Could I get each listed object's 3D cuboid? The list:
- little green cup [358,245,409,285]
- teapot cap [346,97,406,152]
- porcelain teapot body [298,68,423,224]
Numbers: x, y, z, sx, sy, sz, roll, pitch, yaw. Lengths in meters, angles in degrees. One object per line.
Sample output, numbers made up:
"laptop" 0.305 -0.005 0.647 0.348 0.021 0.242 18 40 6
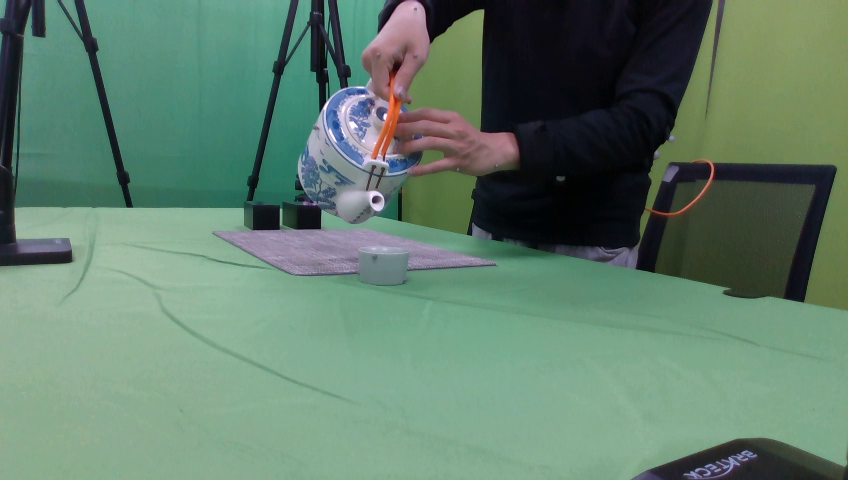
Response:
"little green cup" -0.048 0.029 0.707 0.061 0.038 0.061 2 8 0
"teapot cap" -0.060 -0.152 0.782 0.085 0.085 0.043 -2 -22 -29
"porcelain teapot body" -0.074 -0.108 0.800 0.146 0.205 0.224 10 -31 -24
